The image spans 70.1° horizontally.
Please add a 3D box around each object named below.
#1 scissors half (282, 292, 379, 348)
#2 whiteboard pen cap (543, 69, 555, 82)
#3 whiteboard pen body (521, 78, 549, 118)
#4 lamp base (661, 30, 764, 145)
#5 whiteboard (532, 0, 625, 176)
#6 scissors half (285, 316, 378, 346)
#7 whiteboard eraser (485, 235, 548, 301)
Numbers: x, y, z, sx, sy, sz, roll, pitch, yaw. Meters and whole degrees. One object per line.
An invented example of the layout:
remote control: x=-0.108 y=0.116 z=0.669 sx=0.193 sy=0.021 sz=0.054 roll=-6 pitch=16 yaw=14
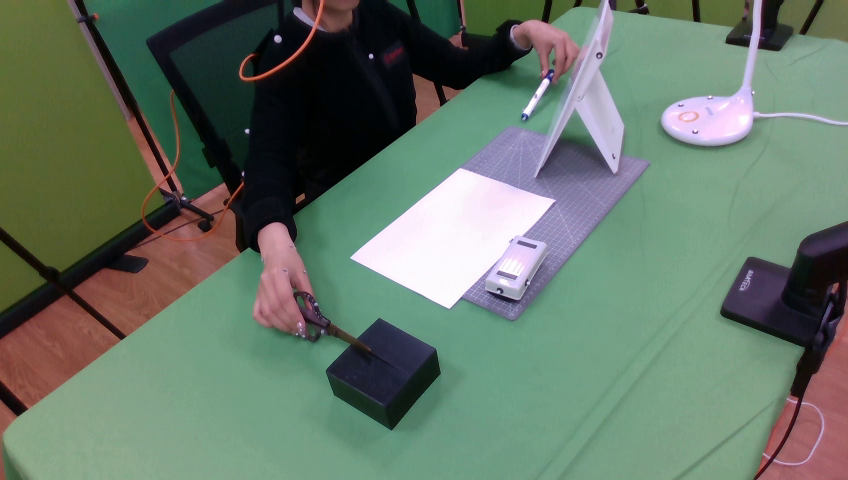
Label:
scissors half: x=-0.127 y=0.109 z=0.809 sx=0.174 sy=0.040 sz=0.013 roll=22 pitch=30 yaw=29
whiteboard pen cap: x=0.270 y=-0.353 z=1.306 sx=0.018 sy=0.018 sz=0.033 roll=17 pitch=61 yaw=28
whiteboard pen body: x=0.241 y=-0.308 z=1.280 sx=0.017 sy=0.017 sz=0.141 roll=18 pitch=60 yaw=28
lamp base: x=0.535 y=-0.287 z=1.096 sx=0.179 sy=0.181 sz=0.159 roll=-10 pitch=40 yaw=-4
whiteboard: x=0.320 y=-0.259 z=1.050 sx=0.144 sy=0.306 sz=0.217 roll=21 pitch=45 yaw=5
scissors half: x=-0.126 y=0.128 z=0.817 sx=0.174 sy=0.040 sz=0.013 roll=2 pitch=24 yaw=39
whiteboard eraser: x=0.137 y=0.042 z=0.887 sx=0.055 sy=0.042 sz=0.113 roll=15 pitch=46 yaw=27
